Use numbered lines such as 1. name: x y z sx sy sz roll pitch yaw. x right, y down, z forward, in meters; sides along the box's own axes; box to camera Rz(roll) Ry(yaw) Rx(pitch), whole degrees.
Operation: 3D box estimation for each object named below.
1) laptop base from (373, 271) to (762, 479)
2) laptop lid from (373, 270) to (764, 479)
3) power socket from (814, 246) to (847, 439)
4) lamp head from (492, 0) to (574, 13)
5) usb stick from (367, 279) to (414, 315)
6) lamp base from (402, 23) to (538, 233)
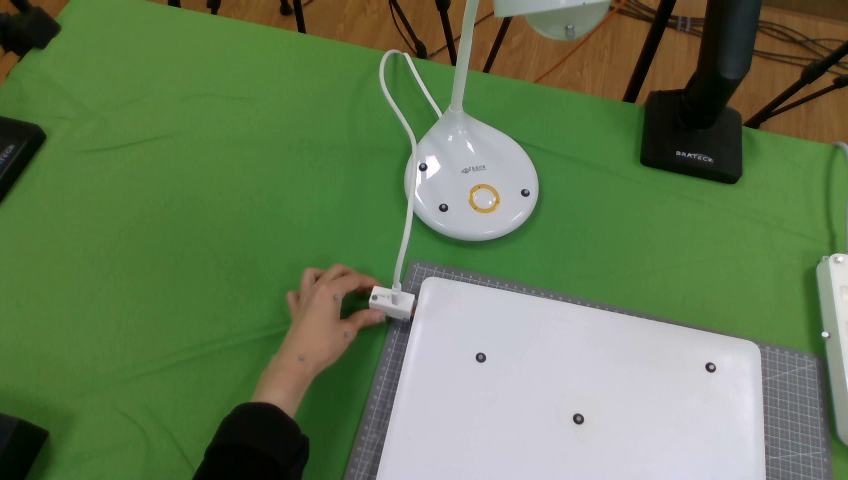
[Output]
1. laptop base: 0.146 0.169 0.591 0.354 0.023 0.234 11 65 4
2. laptop lid: 0.145 0.165 0.579 0.356 0.013 0.240 13 64 4
3. power socket: 0.458 0.106 0.630 0.072 0.033 0.225 11 62 2
4. lamp head: 0.090 -0.214 0.385 0.112 0.111 0.123 -15 107 -10
5. usb stick: -0.028 0.061 0.626 0.059 0.027 0.021 15 56 1
6. lamp base: 0.051 -0.125 0.653 0.161 0.181 0.177 -22 62 -14
